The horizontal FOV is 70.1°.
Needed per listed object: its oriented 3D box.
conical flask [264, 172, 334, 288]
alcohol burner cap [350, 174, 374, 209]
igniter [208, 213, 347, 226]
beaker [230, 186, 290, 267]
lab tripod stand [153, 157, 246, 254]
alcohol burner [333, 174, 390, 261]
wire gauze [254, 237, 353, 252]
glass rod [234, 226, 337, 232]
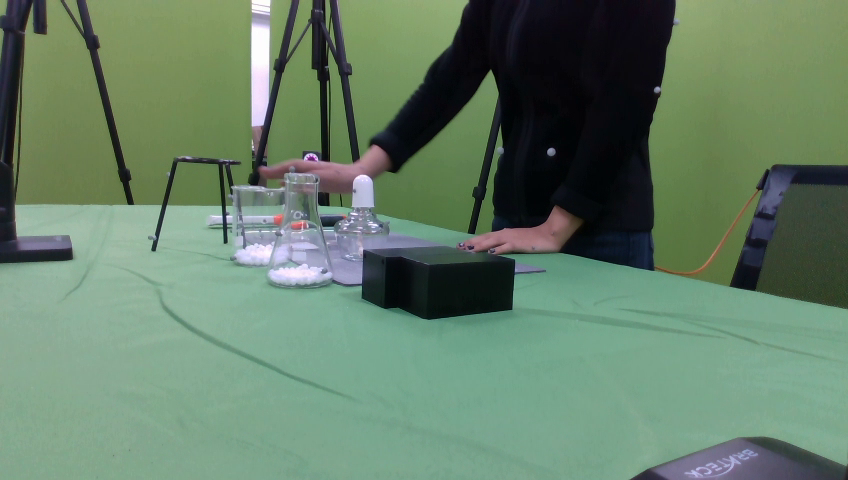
[{"bbox_3d":[-0.136,-0.013,0.660,0.075,0.122,0.075,2,7,0],"label":"conical flask"},{"bbox_3d":[-0.085,-0.067,0.829,0.034,0.048,0.034,0,2,0],"label":"alcohol burner cap"},{"bbox_3d":[-0.283,-0.041,1.200,0.278,0.025,0.057,-2,-2,-34],"label":"igniter"},{"bbox_3d":[-0.209,-0.019,0.778,0.074,0.100,0.084,3,7,4],"label":"beaker"},{"bbox_3d":[-0.305,-0.051,0.865,0.148,0.131,0.148,4,7,0],"label":"lab tripod stand"},{"bbox_3d":[-0.085,-0.031,0.832,0.078,0.119,0.078,4,6,0],"label":"alcohol burner"},{"bbox_3d":[-0.188,0.004,0.940,0.122,0.011,0.124,-2,6,-34],"label":"wire gauze"},{"bbox_3d":[-0.255,-0.021,1.136,0.201,0.008,0.008,-2,8,-32],"label":"glass rod"}]
